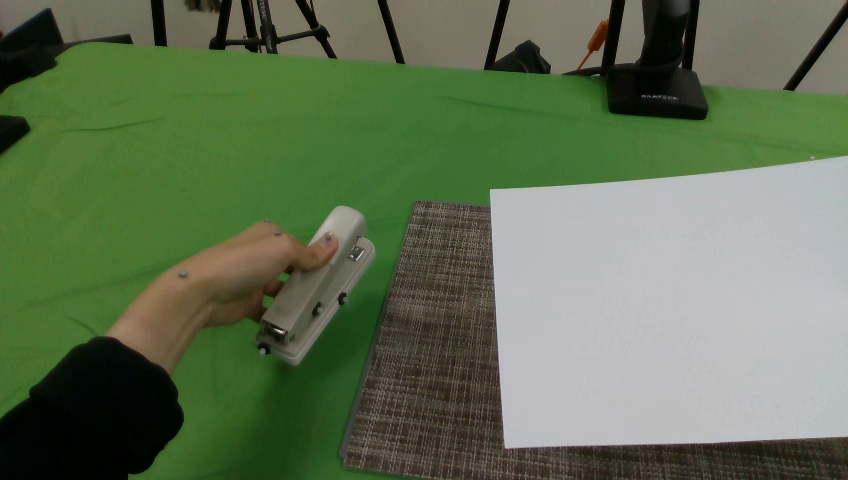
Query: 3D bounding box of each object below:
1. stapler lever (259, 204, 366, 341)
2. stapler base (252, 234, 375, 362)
[{"bbox_3d":[-0.081,0.020,0.459,0.026,0.040,0.117,23,52,13],"label":"stapler lever"},{"bbox_3d":[-0.084,0.034,0.479,0.041,0.024,0.130,23,53,12],"label":"stapler base"}]
